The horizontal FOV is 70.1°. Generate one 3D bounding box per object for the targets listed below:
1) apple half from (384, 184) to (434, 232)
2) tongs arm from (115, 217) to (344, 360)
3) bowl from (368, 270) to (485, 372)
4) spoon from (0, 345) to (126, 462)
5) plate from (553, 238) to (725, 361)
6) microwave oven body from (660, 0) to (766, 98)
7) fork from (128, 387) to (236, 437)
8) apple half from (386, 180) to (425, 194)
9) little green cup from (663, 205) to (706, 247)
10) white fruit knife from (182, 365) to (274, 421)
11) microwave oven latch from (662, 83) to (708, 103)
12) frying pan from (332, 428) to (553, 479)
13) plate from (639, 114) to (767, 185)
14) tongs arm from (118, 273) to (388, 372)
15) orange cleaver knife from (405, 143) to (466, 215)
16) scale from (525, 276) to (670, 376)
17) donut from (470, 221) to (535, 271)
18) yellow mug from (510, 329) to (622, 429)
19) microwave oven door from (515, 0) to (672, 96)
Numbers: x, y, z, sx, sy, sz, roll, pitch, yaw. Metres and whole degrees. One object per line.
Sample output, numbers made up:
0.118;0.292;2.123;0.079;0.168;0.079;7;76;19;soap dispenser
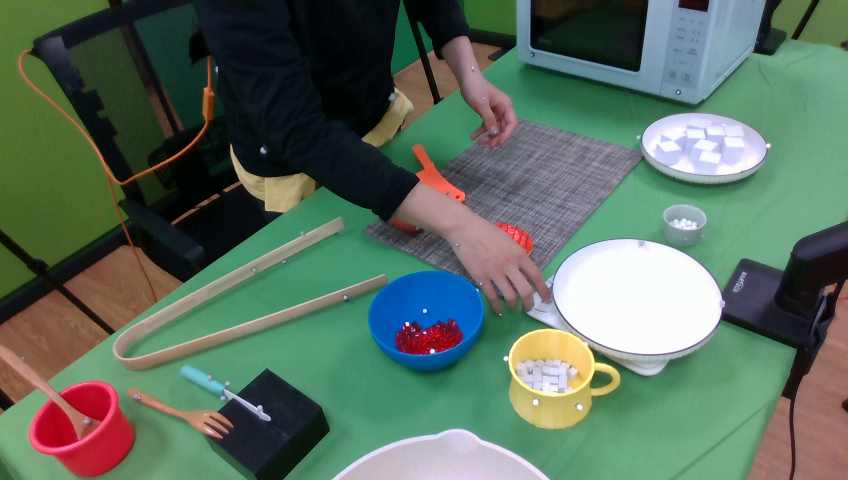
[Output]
-0.022;-0.046;0.987;0.081;0.075;0.053;-8;44;-6;apple half
-0.280;0.069;0.927;0.386;0.026;0.050;-29;49;-23;tongs arm
0.007;0.118;0.791;0.151;0.077;0.150;-5;40;4;bowl
-0.434;0.192;0.720;0.194;0.021;0.042;47;54;-7;spoon
0.273;0.078;0.783;0.209;0.038;0.208;-4;41;4;plate
0.472;-0.513;1.317;0.438;0.261;0.327;26;51;34;microwave oven body
-0.305;0.207;0.744;0.206;0.019;0.028;3;41;36;fork
-0.028;-0.072;1.015;0.081;0.081;0.032;-10;44;-3;apple half
0.396;-0.020;0.926;0.061;0.039;0.061;-4;40;4;little green cup
-0.245;0.187;0.747;0.205;0.027;0.016;9;41;41;white fruit knife
0.517;-0.296;1.204;0.078;0.029;0.030;28;52;35;microwave oven latch
-0.089;0.306;0.564;0.487;0.103;0.306;10;41;7;frying pan
0.489;-0.157;1.074;0.207;0.039;0.206;-4;40;4;plate
-0.236;0.116;0.871;0.389;0.028;0.028;-19;49;-12;tongs arm
0.005;-0.113;1.102;0.077;0.012;0.209;-23;45;-10;orange cleaver knife
0.254;0.092;0.821;0.199;0.032;0.149;28;51;35;scale
0.120;0.008;0.923;0.099;0.048;0.098;-4;39;4;donut
0.169;0.164;0.721;0.130;0.064;0.099;0;40;8;yellow mug
0.344;-0.455;1.259;0.353;0.245;0.039;26;51;33;microwave oven door
